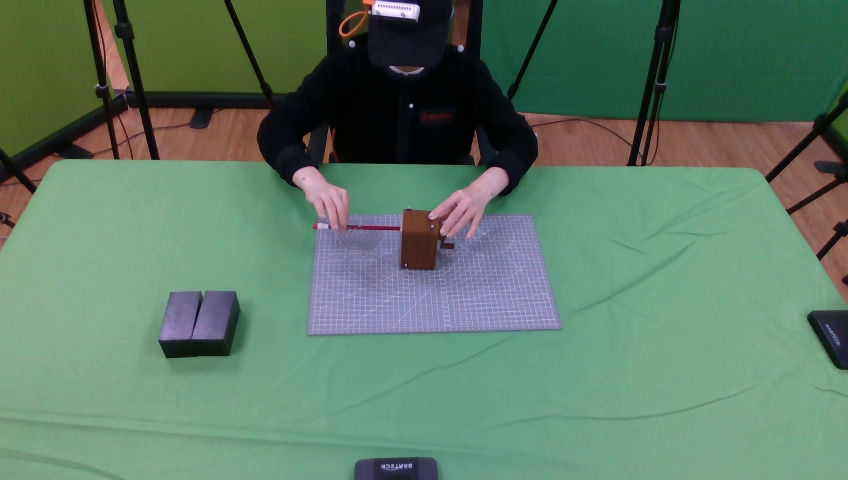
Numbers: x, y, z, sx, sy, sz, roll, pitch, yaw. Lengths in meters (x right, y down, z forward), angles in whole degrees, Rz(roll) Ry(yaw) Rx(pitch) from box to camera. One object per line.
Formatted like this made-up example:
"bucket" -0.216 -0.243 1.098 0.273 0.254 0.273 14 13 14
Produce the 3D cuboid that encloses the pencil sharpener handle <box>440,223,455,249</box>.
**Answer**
"pencil sharpener handle" 0.045 -0.007 1.127 0.030 0.068 0.036 3 52 -1

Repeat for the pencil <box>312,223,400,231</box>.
"pencil" -0.108 -0.022 1.112 0.194 0.012 0.012 2 46 -1

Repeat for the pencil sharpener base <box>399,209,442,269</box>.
"pencil sharpener base" -0.007 0.000 1.134 0.077 0.107 0.061 3 46 -1
